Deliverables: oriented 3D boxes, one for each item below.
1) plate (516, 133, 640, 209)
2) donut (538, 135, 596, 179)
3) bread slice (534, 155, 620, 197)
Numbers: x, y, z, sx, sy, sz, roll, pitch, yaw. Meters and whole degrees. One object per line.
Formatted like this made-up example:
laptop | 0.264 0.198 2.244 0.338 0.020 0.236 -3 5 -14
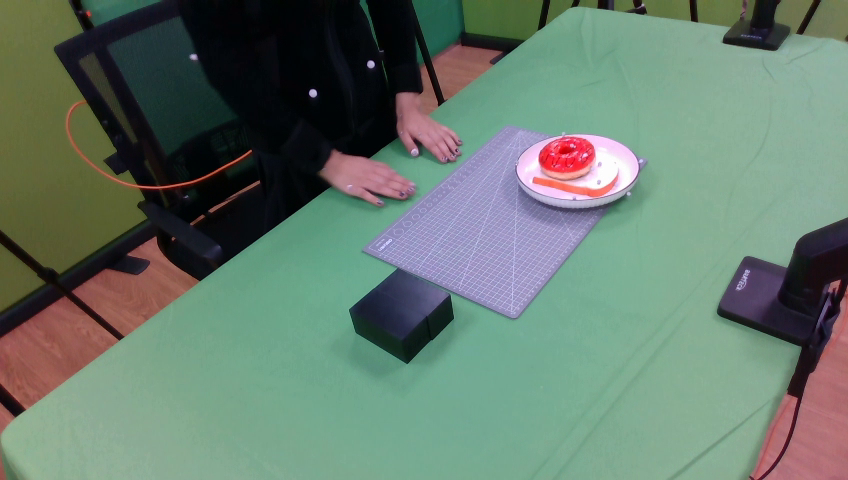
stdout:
plate | 0.266 -0.117 1.054 0.209 0.038 0.208 -5 40 5
donut | 0.248 -0.144 1.047 0.099 0.048 0.098 -8 41 8
bread slice | 0.274 -0.119 1.057 0.130 0.019 0.105 19 49 30
